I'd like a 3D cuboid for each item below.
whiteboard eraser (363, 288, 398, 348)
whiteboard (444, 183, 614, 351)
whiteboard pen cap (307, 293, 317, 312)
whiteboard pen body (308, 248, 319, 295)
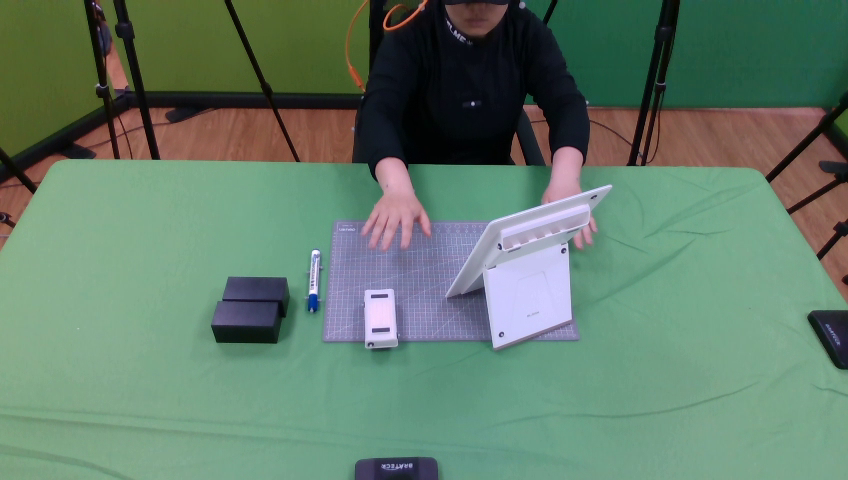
[{"bbox_3d":[-0.076,0.136,1.042,0.056,0.042,0.112,-1,46,-7],"label":"whiteboard eraser"},{"bbox_3d":[0.186,0.065,0.989,0.217,0.306,0.143,-16,68,-19],"label":"whiteboard"},{"bbox_3d":[-0.199,0.110,1.078,0.018,0.018,0.033,-2,47,-5],"label":"whiteboard pen cap"},{"bbox_3d":[-0.204,0.069,1.119,0.017,0.017,0.140,-1,47,-5],"label":"whiteboard pen body"}]
